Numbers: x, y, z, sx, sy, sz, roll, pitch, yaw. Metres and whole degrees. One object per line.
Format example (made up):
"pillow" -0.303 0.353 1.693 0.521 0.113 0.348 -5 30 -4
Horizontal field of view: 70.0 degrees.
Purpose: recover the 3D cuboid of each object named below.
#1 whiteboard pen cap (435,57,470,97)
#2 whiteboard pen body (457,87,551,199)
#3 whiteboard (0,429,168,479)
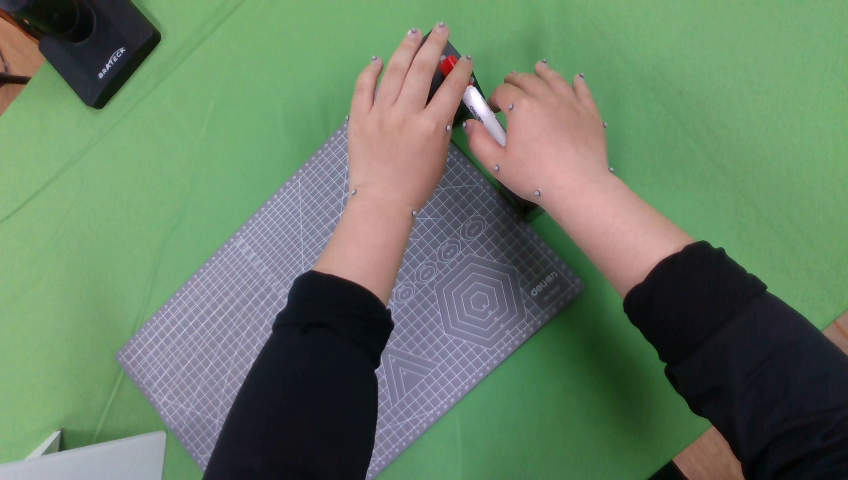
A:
"whiteboard pen cap" 0.025 -0.139 0.519 0.017 0.017 0.032 -35 84 9
"whiteboard pen body" 0.060 -0.092 0.513 0.017 0.017 0.140 -38 81 9
"whiteboard" -0.443 0.303 0.597 0.143 0.307 0.217 9 91 32
